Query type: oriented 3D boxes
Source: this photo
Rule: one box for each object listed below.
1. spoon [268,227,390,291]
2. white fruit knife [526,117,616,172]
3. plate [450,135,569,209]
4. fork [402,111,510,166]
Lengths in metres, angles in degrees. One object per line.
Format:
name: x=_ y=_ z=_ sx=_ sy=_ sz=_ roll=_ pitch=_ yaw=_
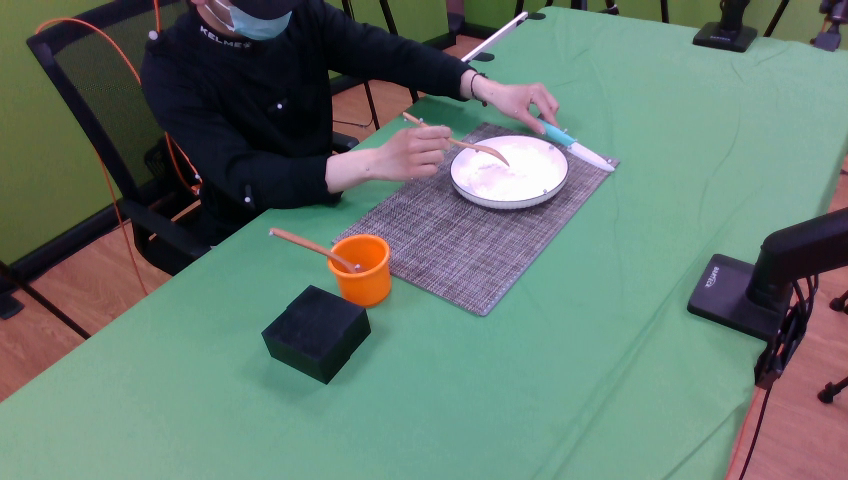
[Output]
spoon: x=-0.132 y=0.025 z=0.862 sx=0.021 sy=0.195 sz=0.041 roll=-40 pitch=32 yaw=33
white fruit knife: x=0.271 y=-0.179 z=1.121 sx=0.016 sy=0.027 sz=0.205 roll=-14 pitch=43 yaw=-43
plate: x=0.149 y=-0.117 z=1.065 sx=0.209 sy=0.038 sz=0.208 roll=-3 pitch=40 yaw=3
fork: x=0.056 y=-0.170 z=1.014 sx=0.208 sy=0.018 sz=0.028 roll=19 pitch=28 yaw=-16
